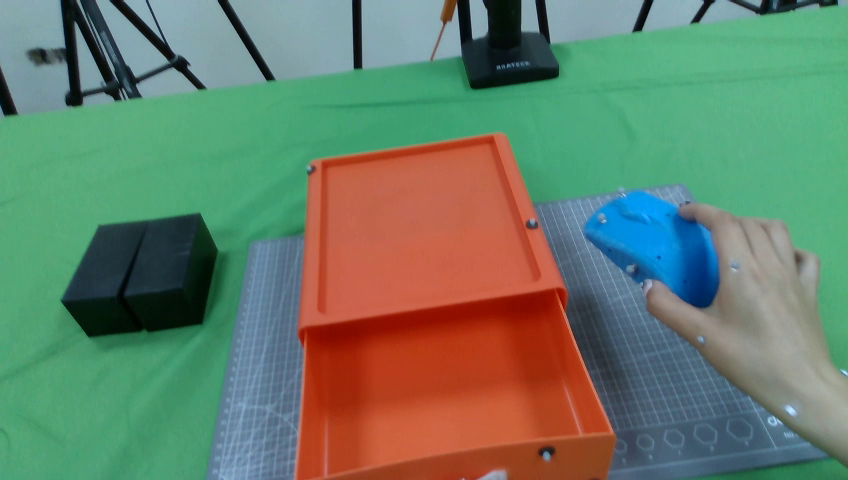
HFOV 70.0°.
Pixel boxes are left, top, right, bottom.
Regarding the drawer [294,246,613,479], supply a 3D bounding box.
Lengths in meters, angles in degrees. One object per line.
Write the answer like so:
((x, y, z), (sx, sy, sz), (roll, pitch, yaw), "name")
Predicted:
((0.009, 0.086, 0.452), (0.194, 0.074, 0.209), (-9, 42, 0), "drawer")

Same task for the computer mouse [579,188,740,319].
((0.175, 0.004, 0.457), (0.063, 0.041, 0.116), (-34, 53, -11), "computer mouse")

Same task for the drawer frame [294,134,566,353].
((-0.003, 0.008, 0.534), (0.202, 0.083, 0.211), (-9, 42, -1), "drawer frame")
